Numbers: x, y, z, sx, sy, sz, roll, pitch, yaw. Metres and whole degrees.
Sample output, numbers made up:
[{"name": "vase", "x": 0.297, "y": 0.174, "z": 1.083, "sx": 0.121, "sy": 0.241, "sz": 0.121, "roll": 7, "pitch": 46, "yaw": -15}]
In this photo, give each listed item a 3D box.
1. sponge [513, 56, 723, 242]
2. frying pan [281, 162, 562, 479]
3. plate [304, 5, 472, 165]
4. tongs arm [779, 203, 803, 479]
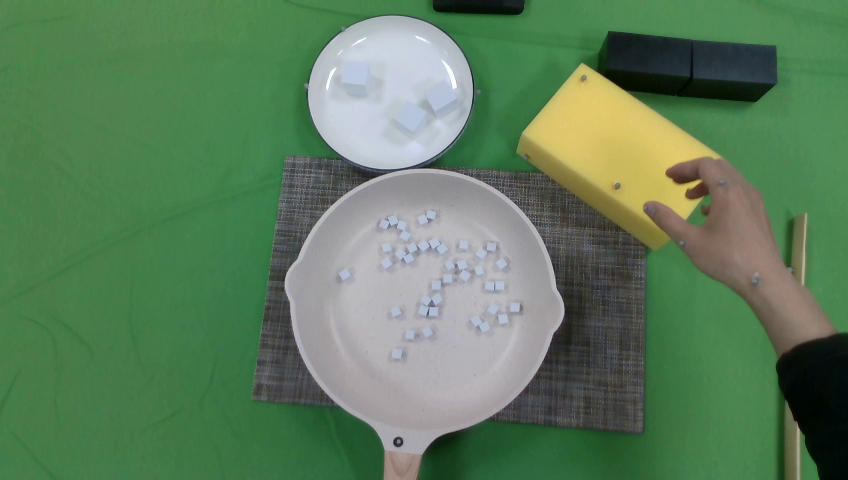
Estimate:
[{"name": "sponge", "x": 0.226, "y": -0.108, "z": 0.722, "sx": 0.206, "sy": 0.061, "sz": 0.118, "roll": 37, "pitch": 80, "yaw": 9}, {"name": "frying pan", "x": -0.017, "y": 0.156, "z": 0.653, "sx": 0.307, "sy": 0.103, "sz": 0.485, "roll": 7, "pitch": 71, "yaw": 4}, {"name": "plate", "x": -0.044, "y": -0.191, "z": 0.759, "sx": 0.207, "sy": 0.039, "sz": 0.206, "roll": 0, "pitch": 79, "yaw": 2}, {"name": "tongs arm", "x": 0.423, "y": 0.145, "z": 0.687, "sx": 0.028, "sy": 0.028, "sz": 0.386, "roll": 7, "pitch": 79, "yaw": 1}]
